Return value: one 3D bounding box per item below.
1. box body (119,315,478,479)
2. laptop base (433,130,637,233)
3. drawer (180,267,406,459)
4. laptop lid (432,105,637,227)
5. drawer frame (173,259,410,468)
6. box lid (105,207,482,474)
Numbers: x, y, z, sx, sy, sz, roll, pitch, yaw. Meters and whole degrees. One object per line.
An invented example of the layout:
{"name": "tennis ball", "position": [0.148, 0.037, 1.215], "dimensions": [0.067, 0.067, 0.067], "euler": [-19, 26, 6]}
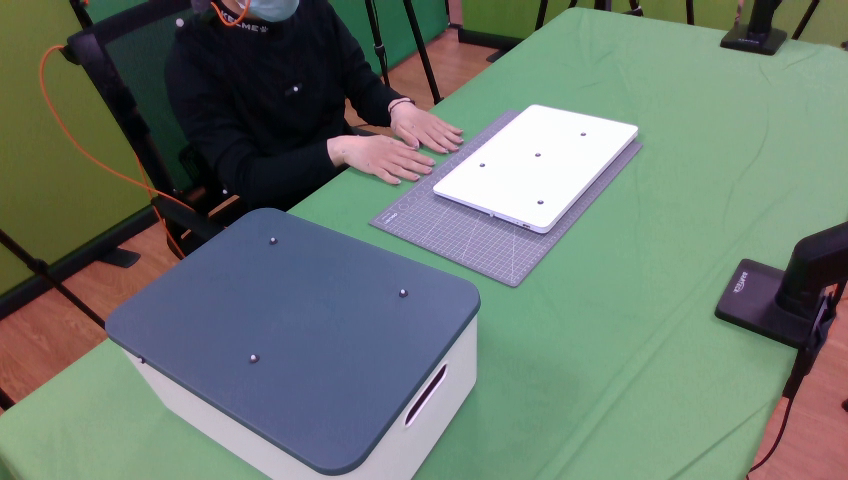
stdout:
{"name": "box body", "position": [-0.140, 0.136, 0.725], "dimensions": [0.361, 0.161, 0.254], "euler": [19, 47, 28]}
{"name": "laptop base", "position": [0.210, -0.142, 1.111], "dimensions": [0.233, 0.023, 0.355], "euler": [21, 47, 34]}
{"name": "drawer", "position": [-0.162, 0.145, 0.771], "dimensions": [0.210, 0.073, 0.195], "euler": [22, 46, 32]}
{"name": "laptop lid", "position": [0.207, -0.152, 1.105], "dimensions": [0.239, 0.013, 0.358], "euler": [23, 49, 34]}
{"name": "drawer frame", "position": [-0.163, 0.142, 0.768], "dimensions": [0.212, 0.083, 0.202], "euler": [24, 51, 29]}
{"name": "box lid", "position": [-0.149, 0.079, 0.677], "dimensions": [0.369, 0.015, 0.264], "euler": [20, 46, 28]}
